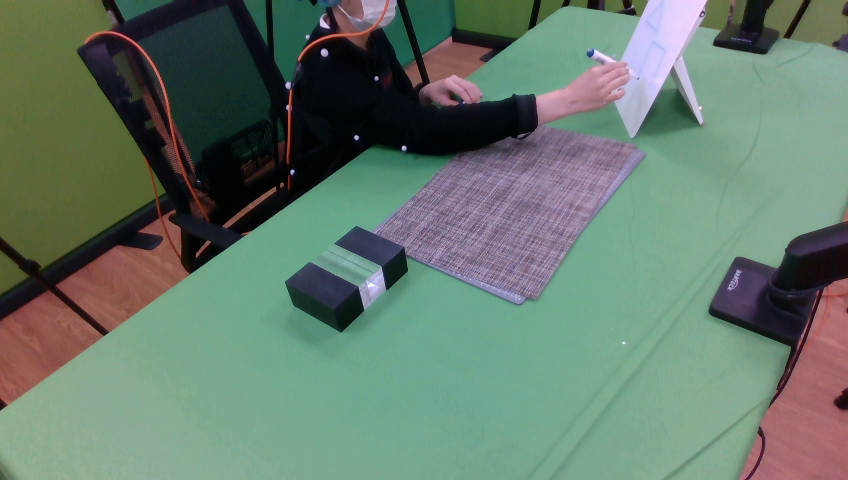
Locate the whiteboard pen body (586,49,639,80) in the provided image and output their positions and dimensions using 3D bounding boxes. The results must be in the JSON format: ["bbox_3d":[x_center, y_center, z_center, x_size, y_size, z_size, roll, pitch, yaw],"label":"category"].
[{"bbox_3d":[0.353,-0.323,1.122,0.142,0.017,0.017,13,30,-32],"label":"whiteboard pen body"}]

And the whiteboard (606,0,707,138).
[{"bbox_3d":[0.496,-0.358,1.147,0.144,0.305,0.216,11,40,-7],"label":"whiteboard"}]

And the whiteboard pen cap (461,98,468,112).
[{"bbox_3d":[0.086,-0.287,1.285,0.018,0.018,0.033,-2,47,6],"label":"whiteboard pen cap"}]
